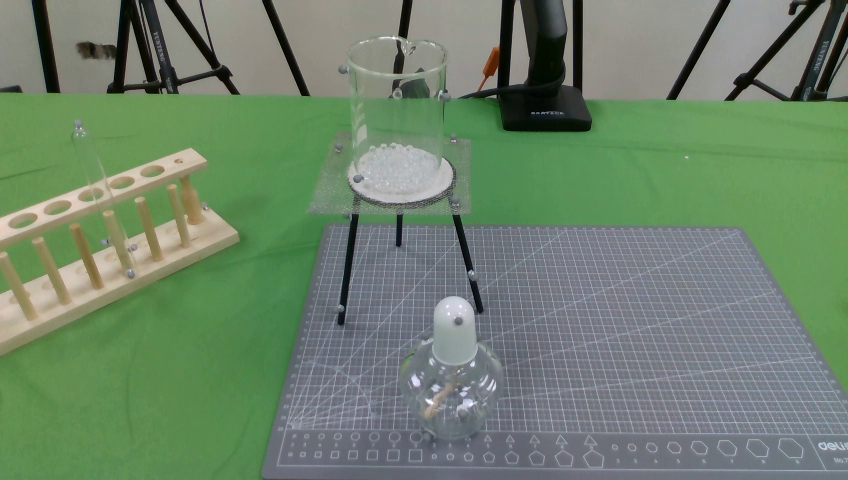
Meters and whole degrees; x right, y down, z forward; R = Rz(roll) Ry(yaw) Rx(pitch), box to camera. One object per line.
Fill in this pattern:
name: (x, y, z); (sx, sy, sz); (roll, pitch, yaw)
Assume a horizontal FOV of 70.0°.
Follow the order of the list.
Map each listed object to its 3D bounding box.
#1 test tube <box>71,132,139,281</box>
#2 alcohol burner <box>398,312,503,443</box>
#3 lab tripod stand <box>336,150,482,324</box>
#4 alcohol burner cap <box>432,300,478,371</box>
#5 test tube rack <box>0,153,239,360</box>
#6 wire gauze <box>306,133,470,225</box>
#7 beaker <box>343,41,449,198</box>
test tube: (-0.278, -0.025, 0.531); (0.017, 0.151, 0.017); (1, 37, 0)
alcohol burner: (0.020, 0.090, 0.432); (0.078, 0.120, 0.077); (1, 40, 0)
lab tripod stand: (-0.015, -0.001, 0.531); (0.148, 0.132, 0.147); (2, 37, -1)
alcohol burner cap: (0.021, 0.062, 0.410); (0.034, 0.048, 0.033); (-1, 38, 2)
test tube rack: (-0.303, 0.009, 0.560); (0.242, 0.086, 0.066); (-30, 47, -33)
wire gauze: (-0.023, -0.052, 0.489); (0.121, 0.011, 0.124); (2, 40, 2)
beaker: (-0.020, -0.091, 0.460); (0.074, 0.101, 0.083); (8, 38, 6)
